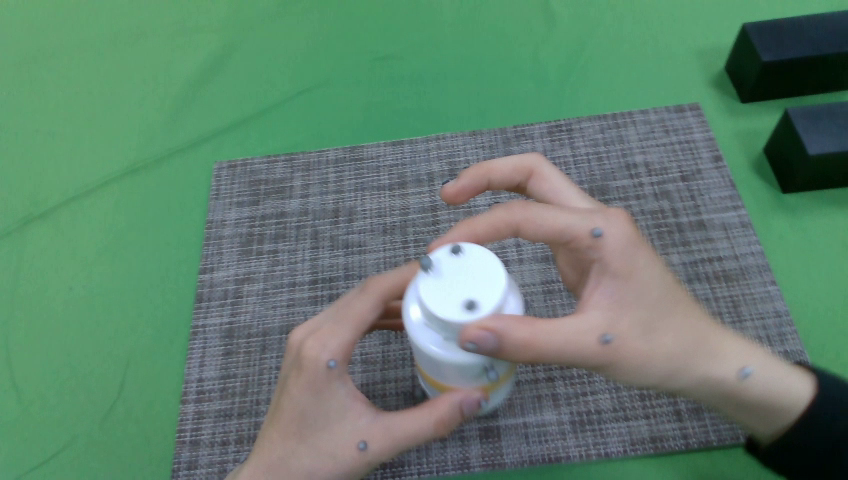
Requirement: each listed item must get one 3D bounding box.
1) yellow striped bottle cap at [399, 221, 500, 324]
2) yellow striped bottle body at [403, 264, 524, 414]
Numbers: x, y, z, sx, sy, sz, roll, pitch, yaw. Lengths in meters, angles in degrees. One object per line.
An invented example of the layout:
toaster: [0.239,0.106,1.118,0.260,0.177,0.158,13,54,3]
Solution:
yellow striped bottle cap: [0.011,0.015,0.271,0.044,0.019,0.044,-1,66,2]
yellow striped bottle body: [0.023,0.051,0.337,0.063,0.121,0.062,-2,59,4]
